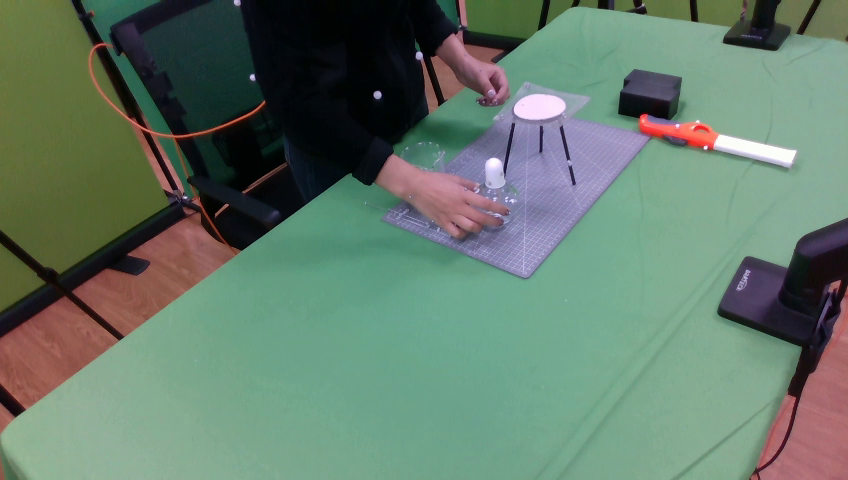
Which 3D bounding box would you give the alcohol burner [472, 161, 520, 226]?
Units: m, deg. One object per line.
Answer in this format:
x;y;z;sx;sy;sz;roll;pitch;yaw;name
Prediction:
0.115;-0.081;0.972;0.078;0.119;0.077;-3;44;3;alcohol burner

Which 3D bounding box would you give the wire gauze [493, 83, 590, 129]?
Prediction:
0.198;-0.224;1.012;0.120;0.011;0.125;20;48;28;wire gauze

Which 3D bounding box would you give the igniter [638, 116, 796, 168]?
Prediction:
0.517;-0.181;1.093;0.274;0.025;0.057;23;65;32;igniter

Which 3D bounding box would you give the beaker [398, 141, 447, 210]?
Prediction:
0.003;-0.108;1.042;0.074;0.101;0.083;-19;41;-11;beaker

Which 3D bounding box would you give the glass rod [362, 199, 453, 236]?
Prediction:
-0.032;-0.041;1.040;0.198;0.008;0.008;22;50;31;glass rod

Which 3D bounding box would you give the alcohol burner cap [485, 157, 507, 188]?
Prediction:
0.111;-0.107;0.946;0.034;0.048;0.033;-8;42;7;alcohol burner cap

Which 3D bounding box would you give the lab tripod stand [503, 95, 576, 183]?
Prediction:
0.204;-0.174;1.057;0.148;0.132;0.147;-4;40;4;lab tripod stand
